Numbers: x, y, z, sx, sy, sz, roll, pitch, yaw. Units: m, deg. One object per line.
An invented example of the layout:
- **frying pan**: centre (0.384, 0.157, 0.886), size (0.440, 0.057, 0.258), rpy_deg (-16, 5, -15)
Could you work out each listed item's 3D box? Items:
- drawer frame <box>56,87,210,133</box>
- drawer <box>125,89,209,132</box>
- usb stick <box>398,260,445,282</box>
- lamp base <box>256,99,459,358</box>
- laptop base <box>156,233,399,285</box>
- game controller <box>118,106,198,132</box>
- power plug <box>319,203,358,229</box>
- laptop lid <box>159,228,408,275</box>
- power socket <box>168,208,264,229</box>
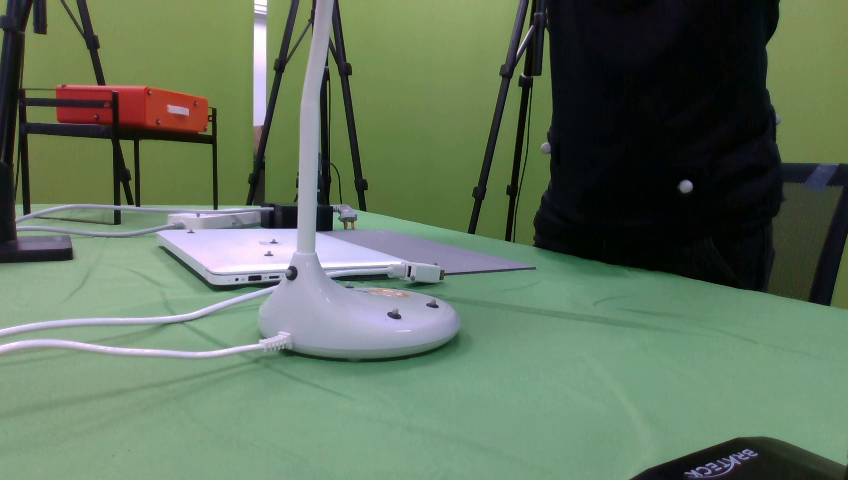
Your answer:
- **drawer frame**: centre (-0.598, -0.269, 1.261), size (0.213, 0.082, 0.202), rpy_deg (4, 8, 14)
- **drawer**: centre (-0.595, -0.268, 1.263), size (0.211, 0.073, 0.195), rpy_deg (3, 8, 15)
- **usb stick**: centre (-0.001, 0.036, 0.696), size (0.027, 0.021, 0.059), rpy_deg (7, 0, 43)
- **lamp base**: centre (-0.055, -0.013, 0.463), size (0.160, 0.180, 0.180), rpy_deg (6, 11, 27)
- **laptop base**: centre (-0.204, 0.019, 0.806), size (0.237, 0.023, 0.352), rpy_deg (0, 7, -33)
- **game controller**: centre (-0.554, -0.252, 1.255), size (0.097, 0.051, 0.155), rpy_deg (7, 11, 19)
- **power plug**: centre (-0.170, -0.046, 1.210), size (0.073, 0.052, 0.035), rpy_deg (-6, -16, -7)
- **laptop lid**: centre (-0.201, 0.007, 0.806), size (0.243, 0.013, 0.355), rpy_deg (-1, 8, -31)
- **power socket**: centre (-0.381, -0.038, 1.128), size (0.072, 0.032, 0.227), rpy_deg (4, 8, 16)
